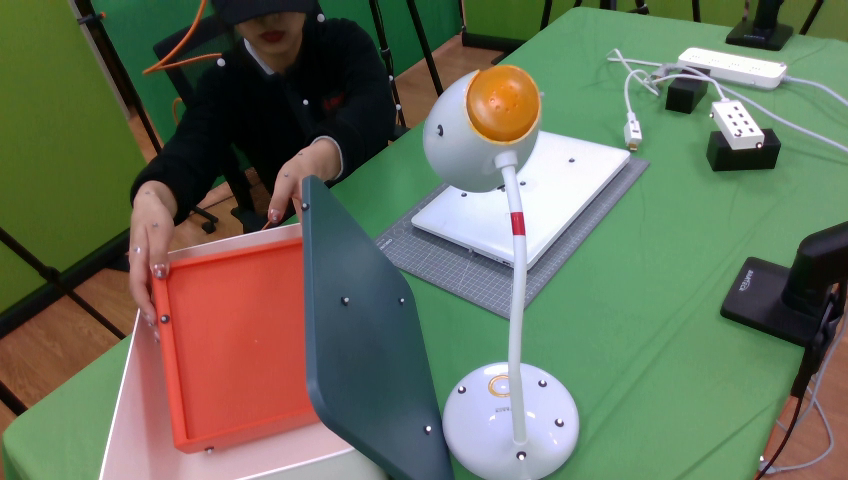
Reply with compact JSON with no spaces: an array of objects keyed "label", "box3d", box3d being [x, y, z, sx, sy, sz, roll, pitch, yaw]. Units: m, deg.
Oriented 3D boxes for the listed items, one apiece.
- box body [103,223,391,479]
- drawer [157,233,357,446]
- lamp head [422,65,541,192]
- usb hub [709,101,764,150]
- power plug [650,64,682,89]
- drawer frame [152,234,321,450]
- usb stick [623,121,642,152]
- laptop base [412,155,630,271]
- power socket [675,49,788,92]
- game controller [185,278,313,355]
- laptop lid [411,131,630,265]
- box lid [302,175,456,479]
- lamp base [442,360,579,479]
[{"label":"box body","box3d":[-0.190,0.161,0.723,0.255,0.161,0.361,-13,40,-5]},{"label":"drawer","box3d":[-0.198,0.113,0.722,0.195,0.073,0.210,-11,66,-15]},{"label":"lamp head","box3d":[0.060,-0.106,0.560,0.113,0.112,0.122,-17,0,-8]},{"label":"usb hub","box3d":[0.534,-0.199,1.040,0.049,0.025,0.124,-5,39,8]},{"label":"power plug","box3d":[0.498,-0.341,1.263,0.035,0.052,0.072,20,10,-7]},{"label":"drawer frame","box3d":[-0.198,0.113,0.721,0.202,0.083,0.212,-12,68,-15]},{"label":"usb stick","box3d":[0.389,-0.191,1.128,0.021,0.027,0.059,9,61,-10]},{"label":"laptop base","box3d":[0.176,-0.084,1.056,0.233,0.023,0.355,20,48,36]},{"label":"power socket","box3d":[0.647,-0.363,1.284,0.225,0.033,0.072,26,53,35]},{"label":"game controller","box3d":[-0.215,0.083,0.749,0.156,0.052,0.096,-14,37,-18]},{"label":"laptop lid","box3d":[0.172,-0.094,1.050,0.239,0.013,0.358,23,49,36]},{"label":"box lid","box3d":[-0.057,0.102,0.702,0.015,0.265,0.369,-29,39,11]},{"label":"lamp base","box3d":[0.094,0.158,0.657,0.161,0.181,0.178,-14,42,-5]}]
